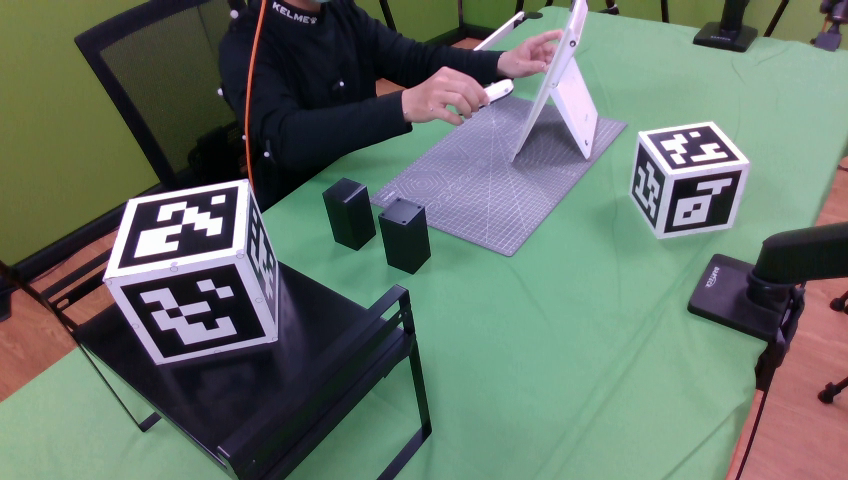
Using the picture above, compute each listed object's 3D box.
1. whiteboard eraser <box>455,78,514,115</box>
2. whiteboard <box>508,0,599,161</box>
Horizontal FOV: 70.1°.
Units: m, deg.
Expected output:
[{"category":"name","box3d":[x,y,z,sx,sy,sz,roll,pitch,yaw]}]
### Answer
[{"category":"whiteboard eraser","box3d":[0.099,-0.236,0.988,0.101,0.019,0.041,-21,31,17]},{"category":"whiteboard","box3d":[0.285,-0.289,1.089,0.144,0.305,0.217,22,45,3]}]
